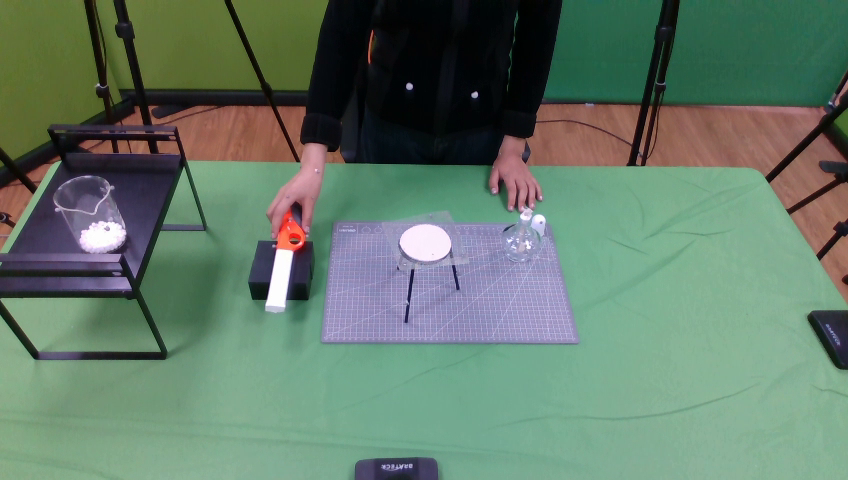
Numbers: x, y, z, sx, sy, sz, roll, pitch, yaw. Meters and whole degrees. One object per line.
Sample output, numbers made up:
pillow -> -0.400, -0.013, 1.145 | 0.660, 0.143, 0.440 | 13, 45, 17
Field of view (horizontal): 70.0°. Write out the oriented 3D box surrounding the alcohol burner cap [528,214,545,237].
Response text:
alcohol burner cap -> 0.231, -0.032, 1.230 | 0.034, 0.048, 0.033 | 2, 46, -1

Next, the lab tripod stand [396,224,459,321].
lab tripod stand -> -0.003, 0.052, 1.067 | 0.148, 0.132, 0.147 | 3, 47, -3

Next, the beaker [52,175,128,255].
beaker -> -0.482, -0.032, 0.888 | 0.074, 0.101, 0.083 | -28, 55, -27

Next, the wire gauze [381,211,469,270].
wire gauze -> 0.000, 0.001, 1.023 | 0.125, 0.011, 0.120 | -9, 48, -13

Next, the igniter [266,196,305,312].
igniter -> -0.250, 0.015, 1.095 | 0.057, 0.025, 0.274 | 9, 45, -11

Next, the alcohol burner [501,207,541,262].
alcohol burner -> 0.188, -0.015, 1.161 | 0.078, 0.120, 0.077 | 1, 44, -1
